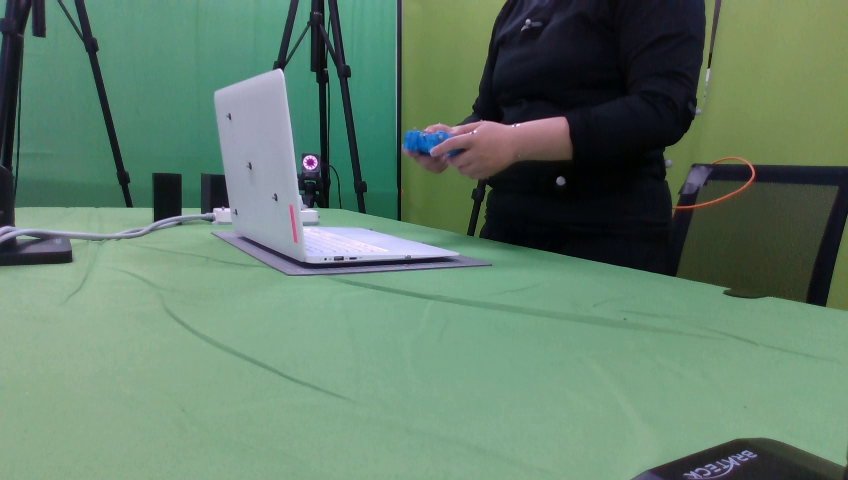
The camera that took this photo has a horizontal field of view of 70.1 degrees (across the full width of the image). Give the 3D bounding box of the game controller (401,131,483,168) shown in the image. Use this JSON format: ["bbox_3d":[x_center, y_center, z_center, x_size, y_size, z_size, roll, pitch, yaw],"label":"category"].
[{"bbox_3d":[0.028,-0.164,1.045,0.097,0.051,0.154,11,5,-31],"label":"game controller"}]

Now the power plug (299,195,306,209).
[{"bbox_3d":[-0.283,-0.075,1.342,0.035,0.052,0.072,0,4,-18],"label":"power plug"}]

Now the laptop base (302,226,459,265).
[{"bbox_3d":[-0.136,0.007,0.951,0.237,0.023,0.352,2,6,-32],"label":"laptop base"}]

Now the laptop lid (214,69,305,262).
[{"bbox_3d":[-0.246,-0.107,0.865,0.013,0.241,0.355,-11,14,-30],"label":"laptop lid"}]

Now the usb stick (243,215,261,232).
[{"bbox_3d":[-0.302,-0.029,1.071,0.021,0.027,0.059,0,11,-30],"label":"usb stick"}]

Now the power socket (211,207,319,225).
[{"bbox_3d":[-0.334,-0.051,1.281,0.228,0.032,0.072,-1,9,-29],"label":"power socket"}]
